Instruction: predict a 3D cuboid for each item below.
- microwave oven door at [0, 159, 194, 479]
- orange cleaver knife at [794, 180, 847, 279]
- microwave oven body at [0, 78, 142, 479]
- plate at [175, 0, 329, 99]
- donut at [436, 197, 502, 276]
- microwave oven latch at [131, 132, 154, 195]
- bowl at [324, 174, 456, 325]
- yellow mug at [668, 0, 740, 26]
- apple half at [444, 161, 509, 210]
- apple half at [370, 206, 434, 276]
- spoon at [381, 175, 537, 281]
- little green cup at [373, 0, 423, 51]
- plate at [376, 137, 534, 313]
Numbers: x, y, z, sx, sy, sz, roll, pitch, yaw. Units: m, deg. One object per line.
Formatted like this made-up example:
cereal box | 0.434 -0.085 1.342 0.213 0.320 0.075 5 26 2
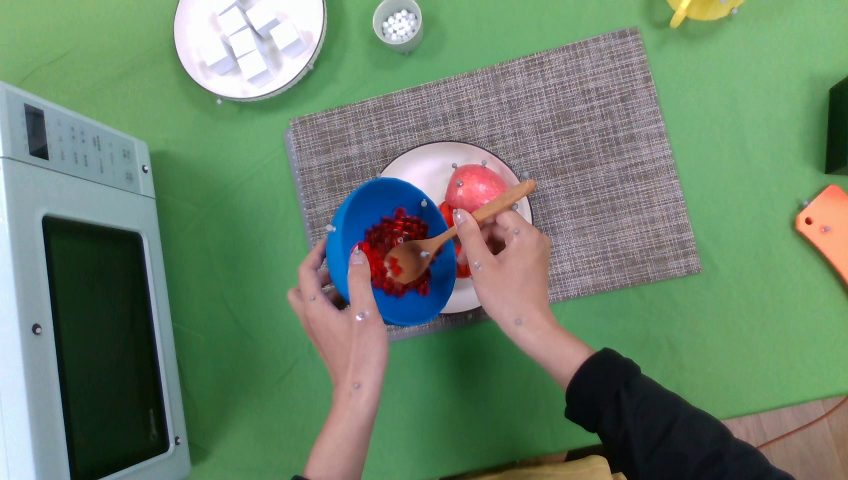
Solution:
microwave oven door | -0.354 0.108 0.662 0.039 0.244 0.354 -12 83 8
orange cleaver knife | 0.485 0.034 0.658 0.077 0.012 0.210 -28 80 1
microwave oven body | -0.502 0.095 0.693 0.326 0.261 0.440 -11 84 8
plate | -0.220 -0.282 0.793 0.207 0.039 0.207 -1 85 10
donut | 0.042 -0.006 0.713 0.099 0.048 0.099 0 90 10
microwave oven latch | -0.373 -0.098 0.785 0.030 0.029 0.079 -10 84 8
bowl | -0.047 0.016 0.614 0.076 0.152 0.151 -18 80 45
yellow mug | 0.320 -0.302 0.689 0.099 0.064 0.131 34 93 10
apple half | 0.063 -0.069 0.698 0.081 0.033 0.080 1 46 -1
apple half | -0.032 0.002 0.703 0.074 0.054 0.080 -17 79 49
spoon | 0.028 -0.010 0.578 0.193 0.022 0.041 -32 76 37
little green cup | -0.030 -0.270 0.760 0.061 0.039 0.061 -1 85 10
plate | 0.027 -0.018 0.726 0.209 0.038 0.208 -1 86 10
